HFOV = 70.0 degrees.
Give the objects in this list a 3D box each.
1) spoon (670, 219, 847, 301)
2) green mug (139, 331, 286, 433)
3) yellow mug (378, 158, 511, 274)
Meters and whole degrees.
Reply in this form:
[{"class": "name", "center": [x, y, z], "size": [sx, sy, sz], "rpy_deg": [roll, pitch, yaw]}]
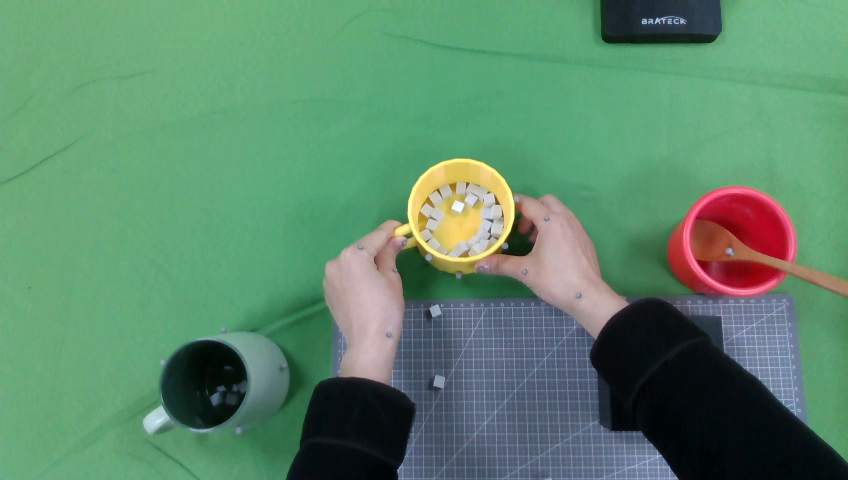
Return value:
[{"class": "spoon", "center": [0.301, 0.023, 0.525], "size": [0.041, 0.022, 0.192], "rpy_deg": [-54, 38, -4]}, {"class": "green mug", "center": [-0.197, 0.138, 0.555], "size": [0.125, 0.105, 0.092], "rpy_deg": [-33, 80, -3]}, {"class": "yellow mug", "center": [0.018, -0.016, 0.585], "size": [0.131, 0.064, 0.099], "rpy_deg": [-20, 78, -1]}]
